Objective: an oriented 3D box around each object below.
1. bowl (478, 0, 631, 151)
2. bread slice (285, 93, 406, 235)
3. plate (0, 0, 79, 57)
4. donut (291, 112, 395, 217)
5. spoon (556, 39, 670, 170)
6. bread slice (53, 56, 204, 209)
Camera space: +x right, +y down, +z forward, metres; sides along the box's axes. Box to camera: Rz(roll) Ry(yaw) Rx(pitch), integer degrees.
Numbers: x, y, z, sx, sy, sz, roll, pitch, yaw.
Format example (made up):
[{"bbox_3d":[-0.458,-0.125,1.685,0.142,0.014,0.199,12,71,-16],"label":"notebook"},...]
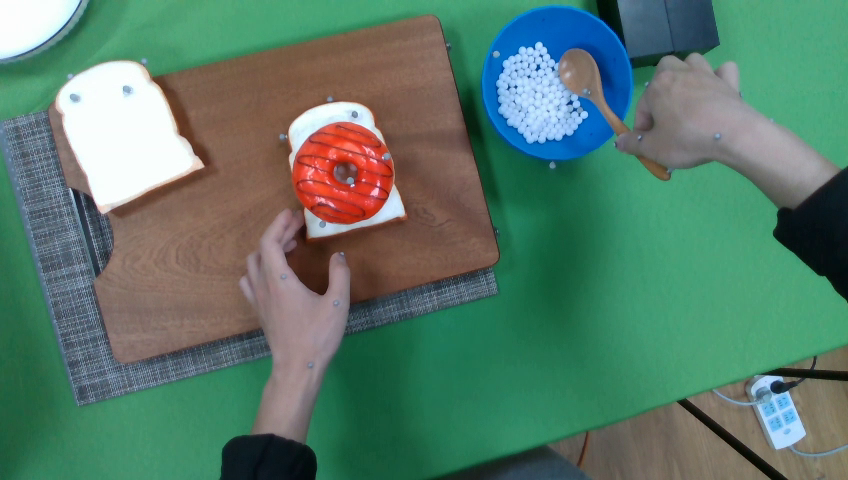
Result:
[{"bbox_3d":[0.124,-0.161,0.622,0.151,0.076,0.151,0,91,-4],"label":"bowl"},{"bbox_3d":[-0.085,-0.079,0.608,0.105,0.019,0.131,-16,94,-6],"label":"bread slice"},{"bbox_3d":[-0.434,-0.279,0.594,0.208,0.039,0.207,0,91,-5],"label":"plate"},{"bbox_3d":[-0.077,-0.071,0.578,0.099,0.048,0.099,0,92,-5],"label":"donut"},{"bbox_3d":[0.171,-0.127,0.563,0.022,0.191,0.042,8,133,-28],"label":"spoon"},{"bbox_3d":[-0.294,-0.109,0.588,0.107,0.018,0.134,-30,92,-4],"label":"bread slice"}]
